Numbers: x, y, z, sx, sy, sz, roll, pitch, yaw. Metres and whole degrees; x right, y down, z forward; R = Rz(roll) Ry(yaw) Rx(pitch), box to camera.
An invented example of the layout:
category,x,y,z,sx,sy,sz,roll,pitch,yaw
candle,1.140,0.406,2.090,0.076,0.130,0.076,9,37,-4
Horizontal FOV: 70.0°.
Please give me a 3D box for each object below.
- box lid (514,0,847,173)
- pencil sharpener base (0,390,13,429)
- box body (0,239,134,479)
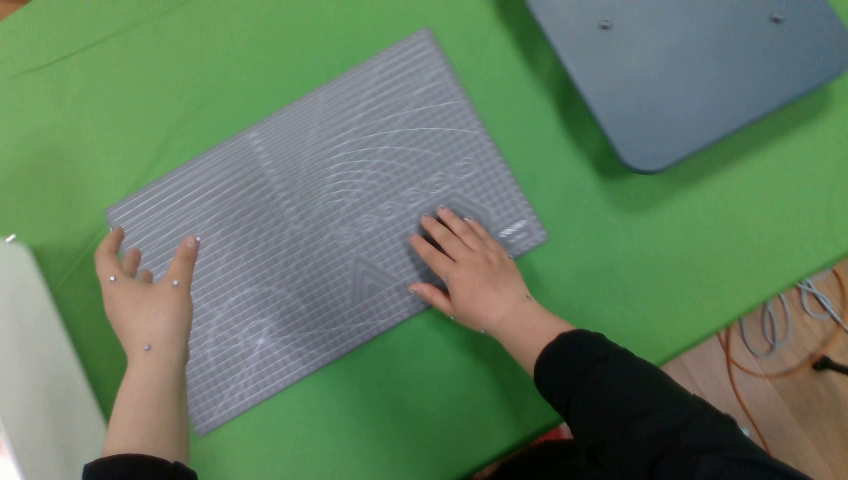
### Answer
category,x,y,z,sx,sy,sz,roll,pitch,yaw
box lid,0.241,-0.279,0.652,0.263,0.015,0.369,-29,78,2
pencil sharpener base,-0.526,0.192,0.666,0.061,0.107,0.076,-32,79,1
box body,-0.513,0.190,0.643,0.254,0.161,0.362,-32,78,1
